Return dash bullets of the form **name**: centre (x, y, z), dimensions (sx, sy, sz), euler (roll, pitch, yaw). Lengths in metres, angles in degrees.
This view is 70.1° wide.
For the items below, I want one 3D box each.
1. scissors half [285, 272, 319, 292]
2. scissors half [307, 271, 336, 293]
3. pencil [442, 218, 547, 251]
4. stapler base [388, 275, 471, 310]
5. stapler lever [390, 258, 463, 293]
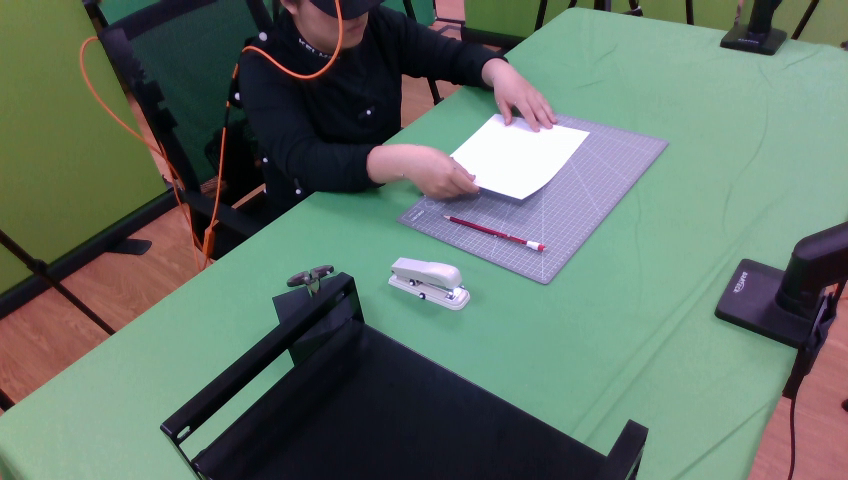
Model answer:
- **scissors half**: centre (-0.171, 0.063, 0.868), dimensions (0.040, 0.013, 0.174), euler (-10, 7, -21)
- **scissors half**: centre (-0.152, 0.061, 0.872), dimensions (0.040, 0.013, 0.175), euler (-3, 6, -4)
- **pencil**: centre (0.110, -0.012, 0.980), dimensions (0.192, 0.012, 0.012), euler (18, 46, 30)
- **stapler base**: centre (0.007, 0.066, 0.897), dimensions (0.129, 0.024, 0.041), euler (17, 43, 29)
- **stapler lever**: centre (0.003, 0.046, 0.881), dimensions (0.117, 0.040, 0.027), euler (17, 43, 29)
